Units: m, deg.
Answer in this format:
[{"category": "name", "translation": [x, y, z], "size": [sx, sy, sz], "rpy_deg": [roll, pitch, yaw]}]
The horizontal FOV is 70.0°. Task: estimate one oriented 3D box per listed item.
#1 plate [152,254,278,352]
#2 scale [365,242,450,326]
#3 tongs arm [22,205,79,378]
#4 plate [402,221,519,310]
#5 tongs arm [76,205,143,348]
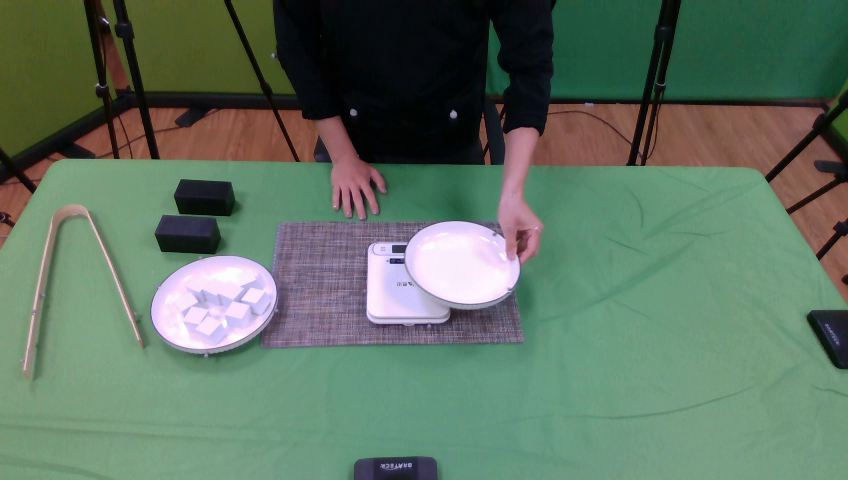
[{"category": "plate", "translation": [-0.357, 0.111, 1.052], "size": [0.208, 0.039, 0.206], "rpy_deg": [2, 46, -2]}, {"category": "scale", "translation": [-0.032, 0.071, 1.113], "size": [0.149, 0.032, 0.199], "rpy_deg": [0, 46, -4]}, {"category": "tongs arm", "translation": [-0.652, 0.073, 1.067], "size": [0.051, 0.026, 0.382], "rpy_deg": [-11, 46, -14]}, {"category": "plate", "translation": [0.063, 0.047, 1.068], "size": [0.209, 0.038, 0.208], "rpy_deg": [4, 43, -4]}, {"category": "tongs arm", "translation": [-0.570, 0.053, 1.097], "size": [0.028, 0.028, 0.385], "rpy_deg": [-26, 52, -22]}]
